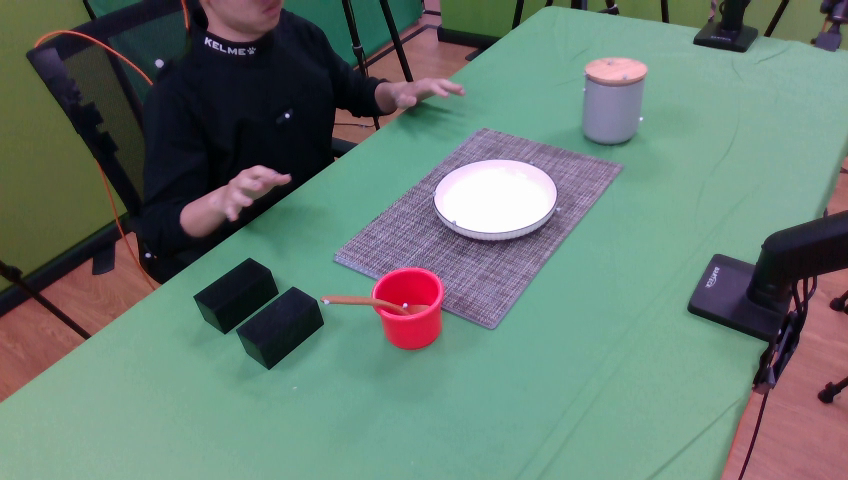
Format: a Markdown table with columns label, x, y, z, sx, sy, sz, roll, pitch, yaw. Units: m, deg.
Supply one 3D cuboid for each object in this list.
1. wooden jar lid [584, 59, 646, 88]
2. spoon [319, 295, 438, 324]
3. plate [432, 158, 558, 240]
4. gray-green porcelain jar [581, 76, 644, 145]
| label | x | y | z | sx | sy | sz | roll | pitch | yaw |
| --- | --- | --- | --- | --- | --- | --- | --- | --- | --- |
| wooden jar lid | 0.343 | -0.298 | 1.089 | 0.108 | 0.021 | 0.108 | -4 | 38 | 3 |
| spoon | -0.055 | 0.086 | 0.784 | 0.195 | 0.021 | 0.041 | 19 | 19 | -44 |
| plate | 0.118 | -0.066 | 1.013 | 0.207 | 0.039 | 0.206 | -4 | 41 | 4 |
| gray-green porcelain jar | 0.350 | -0.251 | 1.131 | 0.106 | 0.127 | 0.105 | -4 | 41 | 4 |
